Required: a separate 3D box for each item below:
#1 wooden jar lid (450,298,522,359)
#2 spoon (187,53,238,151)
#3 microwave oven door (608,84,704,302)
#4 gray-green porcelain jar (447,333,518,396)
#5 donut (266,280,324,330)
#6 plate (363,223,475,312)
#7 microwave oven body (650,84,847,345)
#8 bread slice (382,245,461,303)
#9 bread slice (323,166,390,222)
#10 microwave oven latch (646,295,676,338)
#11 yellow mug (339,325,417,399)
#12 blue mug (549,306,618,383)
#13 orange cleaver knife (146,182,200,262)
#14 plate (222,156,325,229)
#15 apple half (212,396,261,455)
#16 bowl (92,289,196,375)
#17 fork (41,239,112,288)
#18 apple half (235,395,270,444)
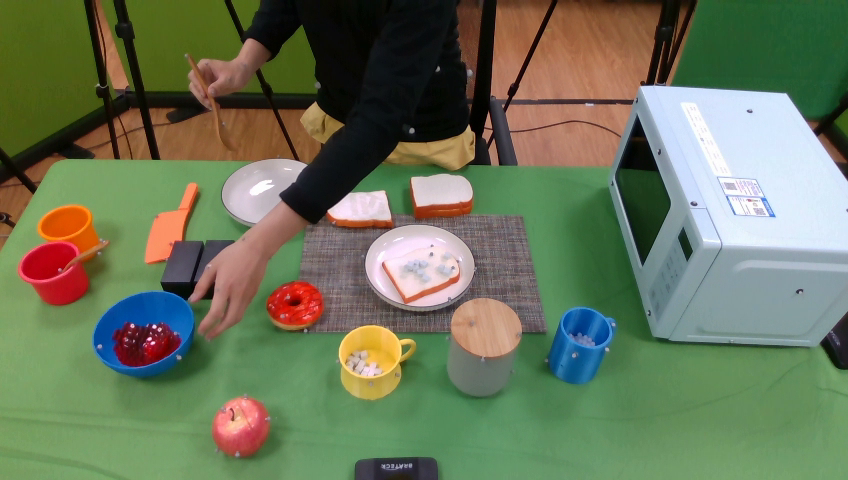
[{"bbox_3d":[0.093,0.135,0.914,0.108,0.021,0.107,3,48,-3],"label":"wooden jar lid"},{"bbox_3d":[-0.396,-0.257,1.138,0.021,0.194,0.041,-8,27,16],"label":"spoon"},{"bbox_3d":[0.424,-0.096,1.137,0.039,0.245,0.353,3,47,-1],"label":"microwave oven door"},{"bbox_3d":[0.091,0.178,0.960,0.106,0.127,0.105,2,46,-2],"label":"gray-green porcelain jar"},{"bbox_3d":[-0.223,0.112,1.051,0.099,0.048,0.098,3,45,-2],"label":"donut"},{"bbox_3d":[-0.009,0.054,1.126,0.208,0.039,0.206,2,46,-2],"label":"plate"},{"bbox_3d":[0.569,-0.054,1.116,0.326,0.261,0.439,2,46,-1],"label":"microwave oven body"},{"bbox_3d":[0.000,0.054,1.129,0.131,0.019,0.104,-20,51,-20],"label":"bread slice"},{"bbox_3d":[-0.140,-0.092,1.224,0.134,0.018,0.106,-19,51,6],"label":"bread slice"},{"bbox_3d":[0.413,0.133,1.060,0.030,0.029,0.078,4,46,1],"label":"microwave oven latch"},{"bbox_3d":[-0.072,0.190,0.978,0.131,0.064,0.099,-17,50,-20],"label":"yellow mug"},{"bbox_3d":[0.269,0.167,0.997,0.116,0.106,0.082,-19,50,-21],"label":"blue mug"},{"bbox_3d":[-0.494,-0.039,1.199,0.077,0.012,0.210,-3,48,2],"label":"orange cleaver knife"},{"bbox_3d":[-0.307,-0.095,1.251,0.209,0.038,0.208,2,47,-2],"label":"plate"},{"bbox_3d":[-0.276,0.276,0.877,0.053,0.075,0.080,-29,58,-21],"label":"apple half"},{"bbox_3d":[-0.436,0.161,0.971,0.151,0.077,0.150,2,46,-2],"label":"bowl"},{"bbox_3d":[-0.591,0.040,1.028,0.207,0.019,0.028,-27,36,29],"label":"fork"},{"bbox_3d":[-0.245,0.260,0.893,0.033,0.082,0.081,-29,55,-22],"label":"apple half"}]
